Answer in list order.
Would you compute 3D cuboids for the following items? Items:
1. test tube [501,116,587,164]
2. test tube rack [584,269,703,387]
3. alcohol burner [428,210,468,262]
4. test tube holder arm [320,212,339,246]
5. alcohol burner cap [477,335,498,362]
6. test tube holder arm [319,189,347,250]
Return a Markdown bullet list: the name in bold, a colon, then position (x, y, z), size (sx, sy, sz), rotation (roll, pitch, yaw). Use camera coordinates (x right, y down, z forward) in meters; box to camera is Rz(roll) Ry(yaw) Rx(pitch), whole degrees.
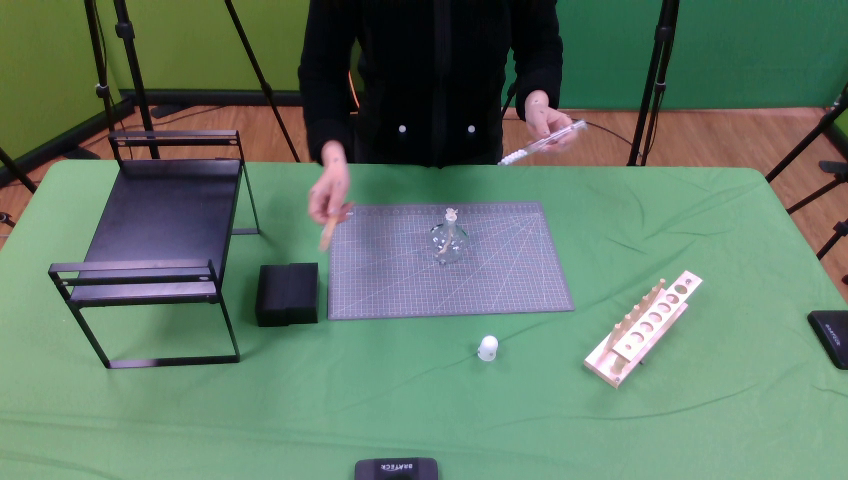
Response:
- **test tube**: position (0.193, -0.161, 0.989), size (0.150, 0.017, 0.017), rotation (-25, 42, 22)
- **test tube rack**: position (0.381, 0.139, 1.045), size (0.066, 0.085, 0.242), rotation (37, 54, 28)
- **alcohol burner**: position (0.048, -0.014, 1.146), size (0.078, 0.119, 0.077), rotation (3, 48, -3)
- **test tube holder arm**: position (-0.156, -0.019, 1.002), size (0.015, 0.010, 0.087), rotation (27, 33, -13)
- **alcohol burner cap**: position (0.108, 0.180, 1.016), size (0.034, 0.048, 0.033), rotation (3, 51, -4)
- **test tube holder arm**: position (-0.155, -0.040, 1.042), size (0.015, 0.013, 0.177), rotation (27, 31, -13)
